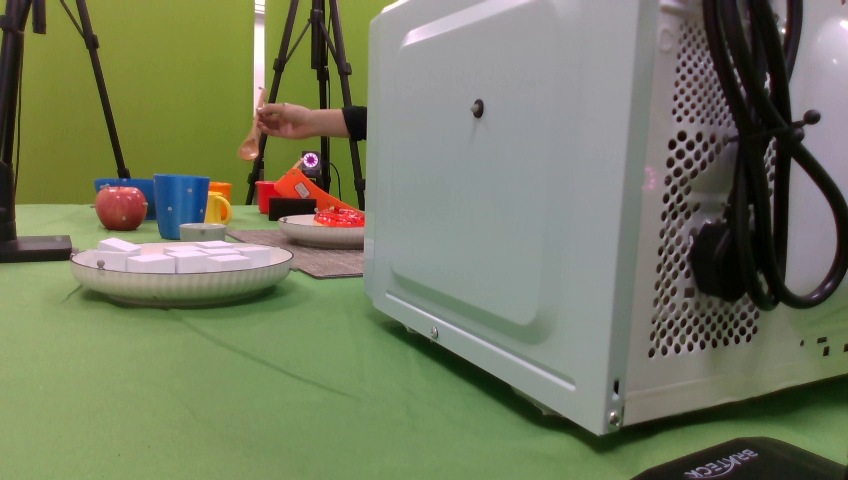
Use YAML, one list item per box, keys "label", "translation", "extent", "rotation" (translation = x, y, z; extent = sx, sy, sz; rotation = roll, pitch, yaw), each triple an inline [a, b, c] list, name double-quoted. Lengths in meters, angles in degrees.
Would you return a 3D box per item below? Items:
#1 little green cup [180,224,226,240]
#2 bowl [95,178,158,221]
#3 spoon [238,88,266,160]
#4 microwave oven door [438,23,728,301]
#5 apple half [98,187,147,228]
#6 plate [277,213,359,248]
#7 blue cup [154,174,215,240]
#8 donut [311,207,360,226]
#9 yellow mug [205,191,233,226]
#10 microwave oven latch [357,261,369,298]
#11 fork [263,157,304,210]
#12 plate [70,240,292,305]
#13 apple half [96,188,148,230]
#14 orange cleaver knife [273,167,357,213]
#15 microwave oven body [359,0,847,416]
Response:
- label: "little green cup"
  translation: [-0.309, -0.001, 0.846]
  extent: [0.061, 0.038, 0.061]
  rotation: [2, 8, 0]
- label: "bowl"
  translation: [-0.576, -0.081, 1.217]
  extent: [0.151, 0.077, 0.151]
  rotation: [3, 8, 0]
- label: "spoon"
  translation: [-0.368, -0.255, 1.320]
  extent: [0.042, 0.193, 0.021]
  rotation: [9, -21, -5]
- label: "microwave oven door"
  translation: [0.181, -0.072, 0.620]
  extent: [0.358, 0.243, 0.039]
  rotation: [-2, 8, -29]
- label: "apple half"
  translation: [-0.534, -0.059, 1.071]
  extent: [0.082, 0.081, 0.032]
  rotation: [-1, 10, -25]
- label: "plate"
  translation: [-0.134, -0.017, 0.992]
  extent: [0.209, 0.038, 0.209]
  rotation: [2, 8, 0]
- label: "blue cup"
  translation: [-0.391, -0.053, 0.978]
  extent: [0.093, 0.100, 0.092]
  rotation: [4, 6, 0]
- label: "donut"
  translation: [-0.137, -0.029, 0.995]
  extent: [0.099, 0.048, 0.099]
  rotation: [4, 9, 0]
- label: "yellow mug"
  translation: [-0.415, -0.057, 1.132]
  extent: [0.130, 0.064, 0.100]
  rotation: [6, 8, 16]
- label: "microwave oven latch"
  translation: [-0.019, 0.034, 0.530]
  extent: [0.079, 0.029, 0.030]
  rotation: [0, 7, -25]
- label: "fork"
  translation: [-0.345, -0.143, 1.505]
  extent: [0.028, 0.019, 0.207]
  rotation: [-3, 46, 27]
- label: "plate"
  translation: [-0.242, 0.031, 0.618]
  extent: [0.208, 0.039, 0.207]
  rotation: [2, 8, 0]
- label: "apple half"
  translation: [-0.517, -0.052, 1.036]
  extent: [0.081, 0.074, 0.053]
  rotation: [2, 10, -26]
- label: "orange cleaver knife"
  translation: [-0.238, -0.091, 1.381]
  extent: [0.212, 0.077, 0.012]
  rotation: [31, 0, -19]
- label: "microwave oven body"
  translation: [0.211, -0.047, 0.474]
  extent: [0.444, 0.260, 0.324]
  rotation: [-1, 7, -28]
